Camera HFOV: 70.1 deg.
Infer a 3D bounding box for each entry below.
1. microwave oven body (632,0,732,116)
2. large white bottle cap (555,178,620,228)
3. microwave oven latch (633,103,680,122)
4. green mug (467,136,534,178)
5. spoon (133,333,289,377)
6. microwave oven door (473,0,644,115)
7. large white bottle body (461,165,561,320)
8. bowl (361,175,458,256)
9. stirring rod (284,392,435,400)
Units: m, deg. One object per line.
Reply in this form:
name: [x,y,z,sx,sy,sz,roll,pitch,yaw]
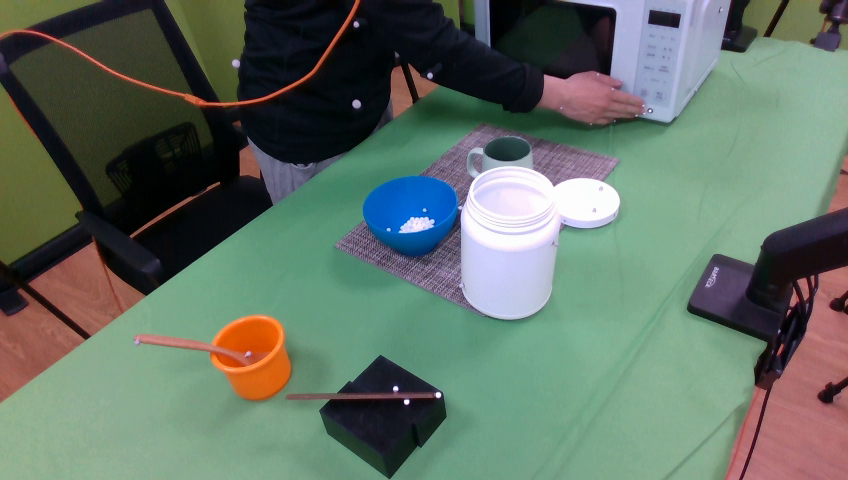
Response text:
microwave oven body: [0.377,-0.463,1.267,0.438,0.261,0.327,21,49,30]
large white bottle cap: [0.265,-0.063,1.001,0.115,0.018,0.114,-3,42,3]
microwave oven latch: [0.443,-0.249,1.158,0.078,0.029,0.030,21,49,30]
green mug: [0.126,-0.114,1.014,0.124,0.105,0.093,21,48,29]
spoon: [-0.257,0.137,0.747,0.021,0.195,0.041,-46,40,23]
microwave oven door: [0.257,-0.396,1.199,0.353,0.245,0.039,21,48,29]
large white bottle body: [0.115,0.004,0.816,0.130,0.185,0.130,-2,43,2]
bowl: [-0.019,-0.028,0.955,0.151,0.077,0.150,-4,40,3]
stirring rod: [-0.075,0.180,0.698,0.176,0.006,0.014,-2,6,7]
